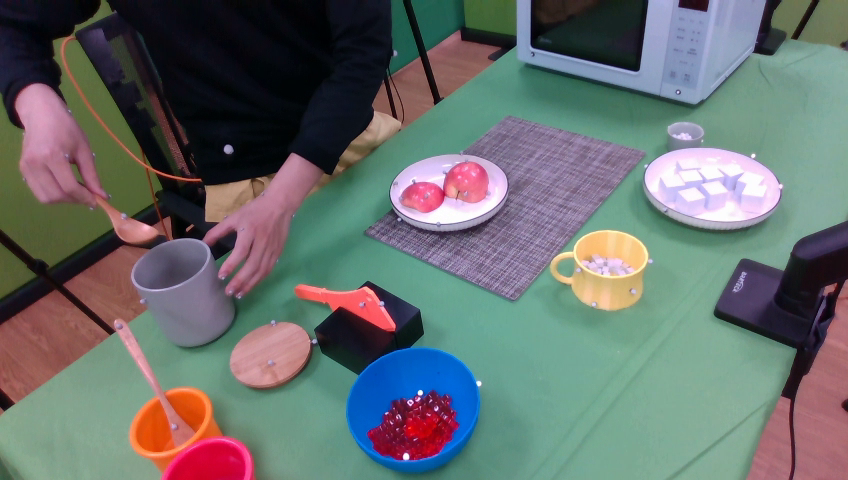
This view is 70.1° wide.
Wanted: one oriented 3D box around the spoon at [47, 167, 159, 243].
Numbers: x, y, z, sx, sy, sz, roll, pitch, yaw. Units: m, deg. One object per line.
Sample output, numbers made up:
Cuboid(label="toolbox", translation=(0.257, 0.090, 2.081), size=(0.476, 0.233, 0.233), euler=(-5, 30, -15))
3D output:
Cuboid(label="spoon", translation=(-0.410, -0.047, 0.765), size=(0.193, 0.021, 0.042), euler=(34, 38, 15))

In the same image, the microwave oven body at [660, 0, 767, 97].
Cuboid(label="microwave oven body", translation=(0.473, -0.517, 1.314), size=(0.438, 0.261, 0.327), euler=(26, 51, 34))

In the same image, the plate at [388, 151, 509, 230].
Cuboid(label="plate", translation=(0.043, -0.082, 1.042), size=(0.209, 0.038, 0.208), euler=(-4, 40, 4))

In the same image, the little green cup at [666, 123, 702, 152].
Cuboid(label="little green cup", translation=(0.472, -0.183, 1.102), size=(0.061, 0.039, 0.061), euler=(-5, 41, 5))

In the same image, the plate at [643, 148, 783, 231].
Cuboid(label="plate", translation=(0.464, -0.079, 0.986), size=(0.207, 0.039, 0.206), euler=(-4, 40, 4))

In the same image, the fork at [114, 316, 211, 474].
Cuboid(label="fork", translation=(-0.309, 0.179, 0.708), size=(0.028, 0.018, 0.207), euler=(-30, 89, -24))

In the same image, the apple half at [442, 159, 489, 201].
Cuboid(label="apple half", translation=(0.074, -0.110, 1.047), size=(0.080, 0.053, 0.075), euler=(21, 45, 30))

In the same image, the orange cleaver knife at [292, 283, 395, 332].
Cuboid(label="orange cleaver knife", translation=(-0.115, 0.092, 0.835), size=(0.209, 0.077, 0.012), euler=(1, 32, 48))

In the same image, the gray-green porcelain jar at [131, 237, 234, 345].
Cuboid(label="gray-green porcelain jar", translation=(-0.332, 0.076, 0.849), size=(0.106, 0.127, 0.105), euler=(-4, 41, 4))

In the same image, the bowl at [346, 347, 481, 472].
Cuboid(label="bowl", translation=(-0.008, 0.205, 0.691), size=(0.151, 0.077, 0.150), euler=(-4, 40, 4))

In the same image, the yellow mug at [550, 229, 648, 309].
Cuboid(label="yellow mug", translation=(0.245, 0.040, 0.857), size=(0.130, 0.064, 0.099), euler=(1, 42, 11))

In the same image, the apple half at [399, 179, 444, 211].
Cuboid(label="apple half", translation=(-0.004, -0.087, 1.045), size=(0.081, 0.033, 0.081), euler=(-2, 43, 2))

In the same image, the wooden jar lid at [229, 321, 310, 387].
Cuboid(label="wooden jar lid", translation=(-0.207, 0.156, 0.820), size=(0.108, 0.021, 0.108), euler=(-3, 39, 3))

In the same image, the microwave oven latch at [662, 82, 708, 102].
Cuboid(label="microwave oven latch", translation=(0.517, -0.298, 1.203), size=(0.078, 0.029, 0.030), euler=(28, 52, 35))

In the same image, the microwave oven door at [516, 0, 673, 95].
Cuboid(label="microwave oven door", translation=(0.344, -0.458, 1.256), size=(0.353, 0.245, 0.039), euler=(26, 51, 33))
